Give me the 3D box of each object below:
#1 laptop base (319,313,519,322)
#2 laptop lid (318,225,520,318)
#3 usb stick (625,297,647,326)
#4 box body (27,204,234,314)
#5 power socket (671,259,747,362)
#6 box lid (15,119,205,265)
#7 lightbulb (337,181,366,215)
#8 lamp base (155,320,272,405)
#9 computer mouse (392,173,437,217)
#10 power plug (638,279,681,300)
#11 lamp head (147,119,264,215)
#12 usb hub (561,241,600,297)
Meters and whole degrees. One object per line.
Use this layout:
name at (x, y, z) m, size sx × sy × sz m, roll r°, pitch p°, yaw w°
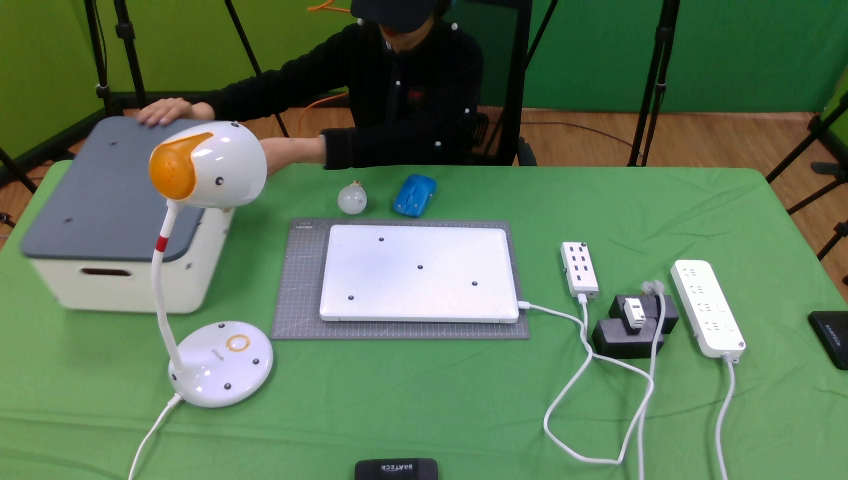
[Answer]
laptop base at (-0.009, 0.062, 1.137) m, size 0.354 × 0.023 × 0.234 m, roll 1°, pitch 42°, yaw -3°
laptop lid at (-0.009, 0.052, 1.131) m, size 0.357 × 0.013 × 0.240 m, roll 2°, pitch 43°, yaw -2°
usb stick at (0.360, 0.116, 1.034) m, size 0.021 × 0.027 × 0.059 m, roll -2°, pitch 44°, yaw -2°
box body at (-0.505, -0.046, 1.109) m, size 0.254 × 0.161 × 0.361 m, roll 2°, pitch 46°, yaw -2°
power socket at (0.516, 0.119, 1.108) m, size 0.072 × 0.033 × 0.225 m, roll 1°, pitch 46°, yaw -2°
box lid at (-0.502, -0.097, 1.054) m, size 0.263 × 0.015 × 0.369 m, roll 2°, pitch 45°, yaw -1°
lightbulb at (-0.146, -0.094, 1.261) m, size 0.059 × 0.060 × 0.107 m, roll 5°, pitch 30°, yaw 1°
lamp base at (-0.330, 0.149, 0.918) m, size 0.160 × 0.181 × 0.179 m, roll 26°, pitch 52°, yaw 20°
computer mouse at (-0.018, -0.099, 1.282) m, size 0.062 × 0.041 × 0.117 m, roll 20°, pitch 52°, yaw 12°
power plug at (0.434, 0.099, 1.119) m, size 0.073 × 0.053 × 0.035 m, roll 34°, pitch 38°, yaw -16°
lamp head at (-0.276, -0.087, 0.740) m, size 0.112 × 0.112 × 0.123 m, roll 20°, pitch 23°, yaw 15°
usb hub at (0.300, 0.055, 1.162) m, size 0.049 × 0.025 × 0.124 m, roll 2°, pitch 46°, yaw -3°
